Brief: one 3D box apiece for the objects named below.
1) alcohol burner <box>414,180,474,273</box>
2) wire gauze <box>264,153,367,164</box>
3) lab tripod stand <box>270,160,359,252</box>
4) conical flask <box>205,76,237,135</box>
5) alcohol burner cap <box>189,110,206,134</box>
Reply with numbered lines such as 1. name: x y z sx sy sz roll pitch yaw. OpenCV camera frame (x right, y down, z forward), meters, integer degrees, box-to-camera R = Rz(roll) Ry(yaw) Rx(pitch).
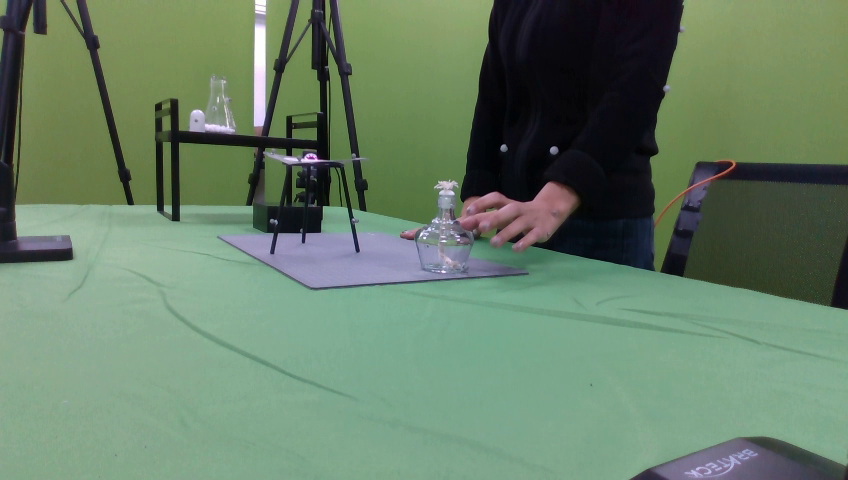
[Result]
1. alcohol burner: 0.027 -0.017 0.773 0.078 0.119 0.078 4 6 0
2. wire gauze: -0.160 -0.118 0.888 0.122 0.011 0.124 -3 10 -32
3. lab tripod stand: -0.167 -0.051 0.892 0.148 0.131 0.148 3 9 0
4. conical flask: -0.443 -0.290 1.309 0.075 0.122 0.075 3 7 0
5. alcohol burner cap: -0.464 -0.242 1.240 0.034 0.048 0.034 5 7 0
